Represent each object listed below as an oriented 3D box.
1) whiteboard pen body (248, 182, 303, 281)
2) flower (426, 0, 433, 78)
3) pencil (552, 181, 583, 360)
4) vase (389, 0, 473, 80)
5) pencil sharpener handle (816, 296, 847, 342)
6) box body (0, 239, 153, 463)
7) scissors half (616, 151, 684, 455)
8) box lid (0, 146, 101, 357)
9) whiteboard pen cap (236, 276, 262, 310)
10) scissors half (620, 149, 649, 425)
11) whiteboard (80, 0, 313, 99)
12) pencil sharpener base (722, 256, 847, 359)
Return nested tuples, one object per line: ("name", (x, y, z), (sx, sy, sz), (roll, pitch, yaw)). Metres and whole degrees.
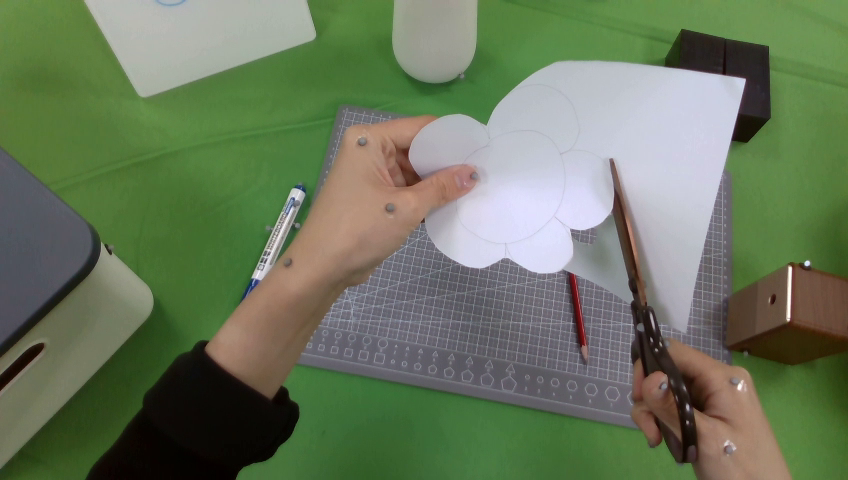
("whiteboard pen body", (-0.157, 0.000, 0.626), (0.017, 0.017, 0.140), (17, 67, 5))
("flower", (0.005, -0.307, 0.567), (0.044, 0.365, 0.038), (3, 50, 3))
("pencil", (0.150, 0.028, 0.629), (0.012, 0.012, 0.192), (-3, 71, -3))
("vase", (0.008, -0.262, 0.639), (0.098, 0.201, 0.097), (0, 67, 0))
("pencil sharpener handle", (0.393, 0.076, 0.556), (0.030, 0.068, 0.035), (14, 63, 1))
("box body", (-0.464, 0.020, 0.532), (0.362, 0.161, 0.253), (36, 72, 11))
("scissors half", (0.125, 0.036, 0.341), (0.013, 0.040, 0.175), (-10, 89, 2))
("box lid", (-0.464, -0.010, 0.463), (0.370, 0.015, 0.262), (36, 71, 11))
("whiteboard pen cap", (-0.173, 0.052, 0.603), (0.018, 0.018, 0.033), (16, 64, 5))
("scissors half", (0.127, 0.032, 0.361), (0.013, 0.040, 0.176), (-9, 110, 7))
("whiteboard", (-0.275, -0.346, 0.638), (0.217, 0.308, 0.142), (-23, 51, -10))
("pencil sharpener base", (0.343, 0.067, 0.568), (0.077, 0.107, 0.061), (14, 68, 1))
